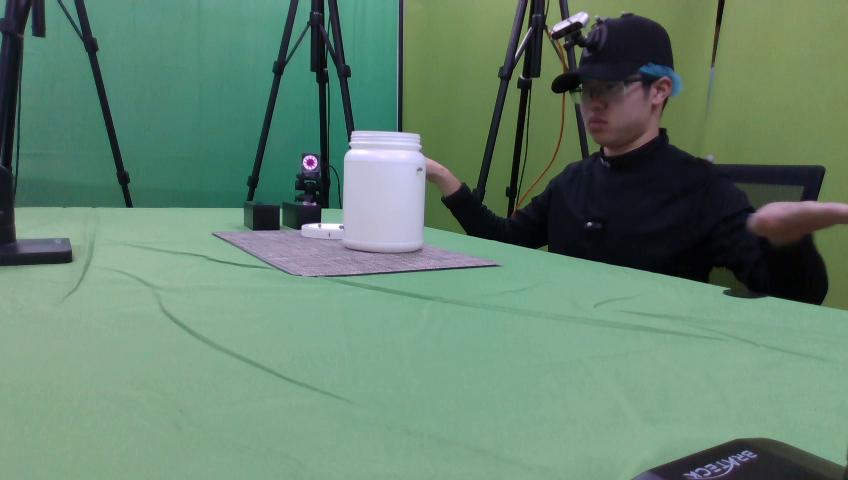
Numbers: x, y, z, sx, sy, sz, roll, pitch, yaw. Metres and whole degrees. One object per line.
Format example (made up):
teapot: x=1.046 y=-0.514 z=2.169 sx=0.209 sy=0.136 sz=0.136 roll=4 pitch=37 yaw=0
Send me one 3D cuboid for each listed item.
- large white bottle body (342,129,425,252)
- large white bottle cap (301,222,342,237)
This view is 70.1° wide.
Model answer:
large white bottle body: x=-0.064 y=-0.080 z=0.958 sx=0.131 sy=0.184 sz=0.130 roll=2 pitch=8 yaw=0
large white bottle cap: x=-0.167 y=-0.019 z=1.103 sx=0.115 sy=0.018 sz=0.115 roll=2 pitch=7 yaw=0
